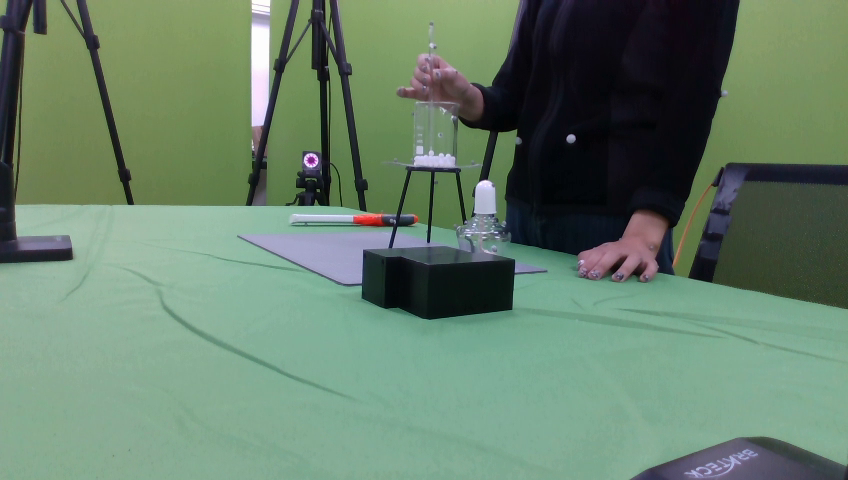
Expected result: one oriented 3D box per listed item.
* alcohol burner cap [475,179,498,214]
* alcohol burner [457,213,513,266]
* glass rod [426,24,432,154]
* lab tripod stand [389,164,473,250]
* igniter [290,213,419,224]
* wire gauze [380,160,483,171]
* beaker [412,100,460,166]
[{"bbox_3d":[0.086,-0.061,0.833,0.034,0.048,0.034,-1,11,0],"label":"alcohol burner cap"},{"bbox_3d":[0.084,-0.025,0.837,0.078,0.119,0.078,0,8,0],"label":"alcohol burner"},{"bbox_3d":[0.008,-0.232,0.931,0.008,0.199,0.008,1,2,0],"label":"glass rod"},{"bbox_3d":[0.011,-0.054,0.960,0.148,0.131,0.148,2,9,0],"label":"lab tripod stand"},{"bbox_3d":[-0.143,-0.046,1.288,0.278,0.025,0.057,-1,-2,-24],"label":"igniter"},{"bbox_3d":[0.011,-0.119,0.951,0.122,0.011,0.124,-5,12,-32],"label":"wire gauze"},{"bbox_3d":[0.020,-0.167,0.953,0.073,0.100,0.084,5,9,26],"label":"beaker"}]
